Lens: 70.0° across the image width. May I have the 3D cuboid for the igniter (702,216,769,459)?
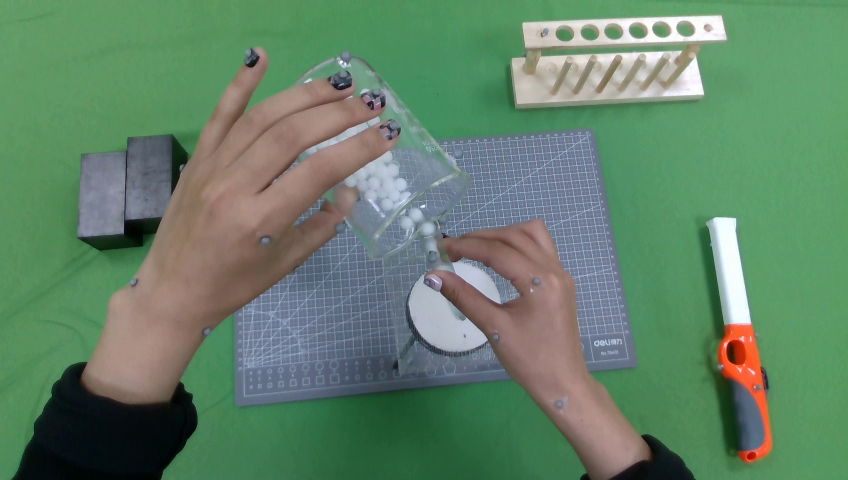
[{"bbox_3d":[0.356,0.105,0.695,0.057,0.025,0.275,2,74,-12],"label":"igniter"}]

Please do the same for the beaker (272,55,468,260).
[{"bbox_3d":[-0.033,-0.050,0.355,0.074,0.084,0.100,-40,79,2],"label":"beaker"}]

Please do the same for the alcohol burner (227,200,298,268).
[{"bbox_3d":[-0.178,-0.012,0.655,0.078,0.120,0.077,1,72,-1],"label":"alcohol burner"}]

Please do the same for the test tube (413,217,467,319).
[{"bbox_3d":[0.015,0.026,0.448,0.017,0.151,0.017,-5,61,10],"label":"test tube"}]

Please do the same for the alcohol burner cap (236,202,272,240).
[{"bbox_3d":[-0.175,-0.021,0.621,0.034,0.048,0.033,1,76,-6],"label":"alcohol burner cap"}]

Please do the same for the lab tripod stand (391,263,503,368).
[{"bbox_3d":[0.022,0.079,0.629,0.148,0.132,0.147,0,73,-1],"label":"lab tripod stand"}]

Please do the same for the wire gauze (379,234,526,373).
[{"bbox_3d":[0.026,0.057,0.565,0.125,0.011,0.120,-6,73,-5],"label":"wire gauze"}]

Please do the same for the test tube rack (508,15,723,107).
[{"bbox_3d":[0.233,-0.220,0.751,0.242,0.085,0.066,-4,74,-3],"label":"test tube rack"}]
